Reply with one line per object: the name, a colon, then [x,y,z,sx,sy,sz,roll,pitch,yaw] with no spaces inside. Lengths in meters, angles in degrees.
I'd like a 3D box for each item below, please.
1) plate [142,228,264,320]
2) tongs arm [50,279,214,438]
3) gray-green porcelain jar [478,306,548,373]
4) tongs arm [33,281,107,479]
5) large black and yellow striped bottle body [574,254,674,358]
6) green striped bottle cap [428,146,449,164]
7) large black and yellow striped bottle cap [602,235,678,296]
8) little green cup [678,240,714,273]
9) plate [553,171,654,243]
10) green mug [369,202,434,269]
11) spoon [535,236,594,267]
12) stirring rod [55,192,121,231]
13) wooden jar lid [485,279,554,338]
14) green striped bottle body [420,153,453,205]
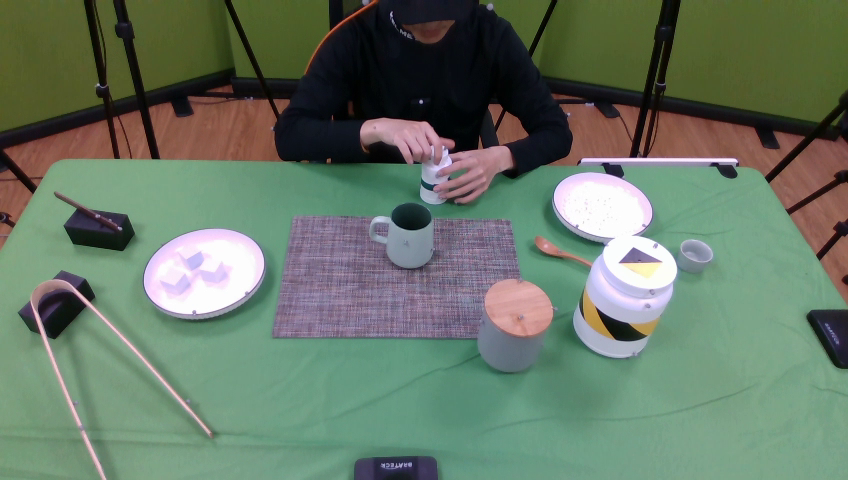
plate: [-0.394,0.064,1.095,0.208,0.039,0.206,2,46,-2]
tongs arm: [-0.459,0.178,0.949,0.386,0.028,0.028,37,60,17]
gray-green porcelain jar: [0.144,0.148,0.989,0.106,0.127,0.105,2,50,-2]
tongs arm: [-0.517,0.214,0.910,0.051,0.026,0.383,-28,63,-27]
large black and yellow striped bottle body: [0.335,0.096,1.014,0.131,0.185,0.130,2,46,-2]
green striped bottle cap: [0.029,-0.172,1.223,0.044,0.020,0.044,-3,39,3]
large black and yellow striped bottle cap: [0.340,0.037,0.955,0.115,0.019,0.114,2,47,-1]
little green cup: [0.530,0.033,1.190,0.061,0.039,0.061,1,46,-1]
plate: [0.373,-0.066,1.275,0.209,0.038,0.208,2,46,-2]
green mug: [-0.042,-0.010,1.140,0.125,0.105,0.092,7,47,3]
spoon: [0.303,0.040,1.178,0.193,0.022,0.041,25,30,19]
stirring rod: [-0.632,-0.055,1.138,0.175,0.014,0.006,24,50,19]
wooden jar lid: [0.147,0.108,0.940,0.108,0.021,0.107,4,47,-4]
green striped bottle body: [0.025,-0.137,1.262,0.063,0.120,0.063,3,45,-2]
